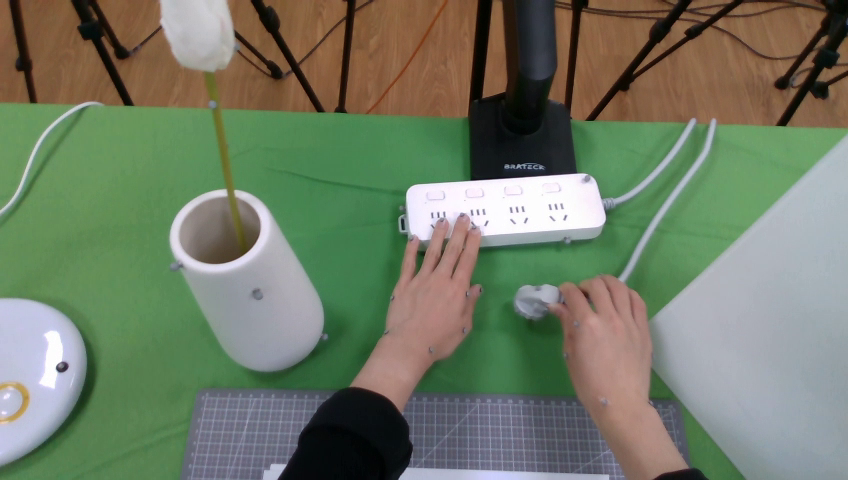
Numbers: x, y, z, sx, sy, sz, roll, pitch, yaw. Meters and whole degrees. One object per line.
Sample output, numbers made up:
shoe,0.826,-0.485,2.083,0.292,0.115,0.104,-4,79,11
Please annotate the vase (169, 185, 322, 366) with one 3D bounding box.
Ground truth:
vase,-0.146,0.035,0.510,0.098,0.201,0.097,0,61,0

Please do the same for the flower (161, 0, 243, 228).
flower,-0.138,-0.019,0.447,0.038,0.365,0.043,-9,44,-14

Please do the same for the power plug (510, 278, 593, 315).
power plug,0.119,0.063,0.589,0.072,0.053,0.035,29,60,9

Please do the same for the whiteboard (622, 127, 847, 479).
whiteboard,0.355,0.062,0.488,0.144,0.307,0.215,-20,62,-33

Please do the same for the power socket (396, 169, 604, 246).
power socket,0.083,-0.035,0.650,0.227,0.033,0.071,-4,63,-4

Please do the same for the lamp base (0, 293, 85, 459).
lamp base,-0.402,0.080,0.488,0.178,0.182,0.160,31,65,17
